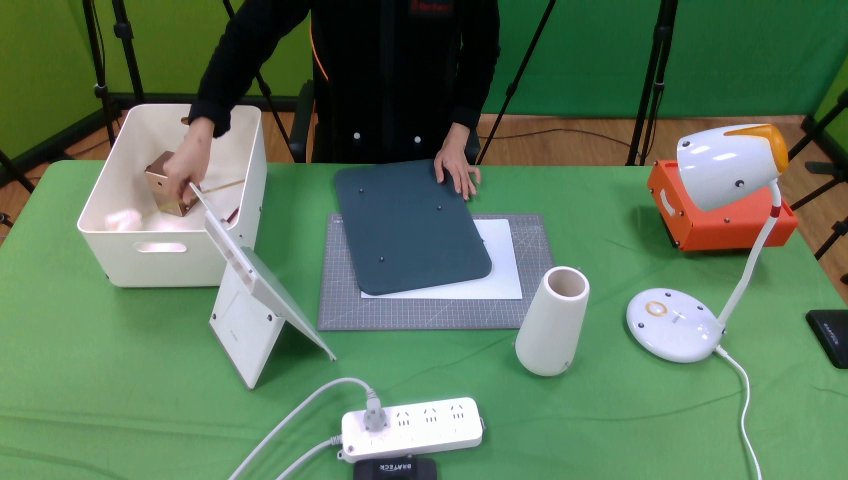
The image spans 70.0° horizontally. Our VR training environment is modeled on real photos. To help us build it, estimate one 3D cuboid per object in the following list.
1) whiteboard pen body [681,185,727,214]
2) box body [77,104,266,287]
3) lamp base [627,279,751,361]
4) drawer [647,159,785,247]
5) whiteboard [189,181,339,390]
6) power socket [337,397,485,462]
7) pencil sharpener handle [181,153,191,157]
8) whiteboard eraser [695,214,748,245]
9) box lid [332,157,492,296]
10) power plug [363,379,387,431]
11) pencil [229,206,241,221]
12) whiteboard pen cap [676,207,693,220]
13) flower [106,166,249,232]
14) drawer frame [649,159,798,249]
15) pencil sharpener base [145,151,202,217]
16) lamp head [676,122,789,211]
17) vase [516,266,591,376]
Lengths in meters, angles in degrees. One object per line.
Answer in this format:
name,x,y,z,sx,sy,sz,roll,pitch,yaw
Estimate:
whiteboard pen body,0.571,-0.081,1.237,0.141,0.017,0.017,-26,54,-24
box body,-0.447,-0.088,1.150,0.254,0.161,0.361,-1,46,-5
lamp base,0.459,0.100,1.027,0.178,0.181,0.160,27,51,17
drawer,0.582,-0.079,1.214,0.212,0.073,0.193,-1,46,-5
whiteboard,-0.292,0.096,0.929,0.144,0.307,0.216,-37,57,-10
power socket,-0.018,0.285,0.915,0.227,0.033,0.071,-5,46,-8
pencil sharpener handle,-0.478,-0.156,1.225,0.036,0.068,0.030,23,48,3
whiteboard eraser,0.592,-0.019,1.209,0.113,0.042,0.055,11,27,-36
box lid,-0.034,-0.041,1.241,0.264,0.015,0.369,-9,47,-12
power plug,-0.072,0.252,0.910,0.035,0.053,0.072,3,45,-1
pencil,-0.402,-0.009,1.176,0.012,0.012,0.193,15,44,9
whiteboard pen cap,0.524,-0.053,1.216,0.033,0.018,0.018,-28,54,-23
flower,-0.437,-0.086,1.142,0.044,0.038,0.361,38,36,5
drawer frame,0.588,-0.077,1.219,0.214,0.083,0.200,-2,45,-5
pencil sharpener base,-0.491,-0.112,1.200,0.061,0.107,0.076,15,47,12
lamp head,0.423,-0.104,0.819,0.122,0.113,0.112,-13,33,40
vase,0.208,0.132,0.964,0.098,0.201,0.097,3,46,-3
